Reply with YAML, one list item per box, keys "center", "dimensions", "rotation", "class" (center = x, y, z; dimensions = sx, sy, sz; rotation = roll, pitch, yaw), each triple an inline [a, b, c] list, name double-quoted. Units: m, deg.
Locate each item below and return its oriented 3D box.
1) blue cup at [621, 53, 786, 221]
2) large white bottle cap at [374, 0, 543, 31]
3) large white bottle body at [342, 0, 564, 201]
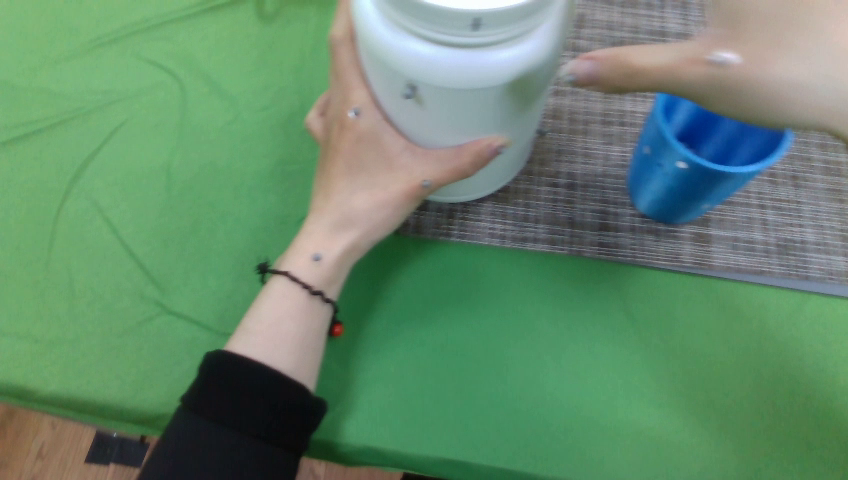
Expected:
- center: [0.180, -0.061, 0.418]
  dimensions: [0.092, 0.101, 0.092]
  rotation: [0, 66, 1]
  class: "blue cup"
- center: [0.017, -0.159, 0.318]
  dimensions: [0.115, 0.018, 0.114]
  rotation: [1, 66, -1]
  class: "large white bottle cap"
- center: [0.016, -0.122, 0.395]
  dimensions: [0.131, 0.186, 0.129]
  rotation: [1, 66, -1]
  class: "large white bottle body"
